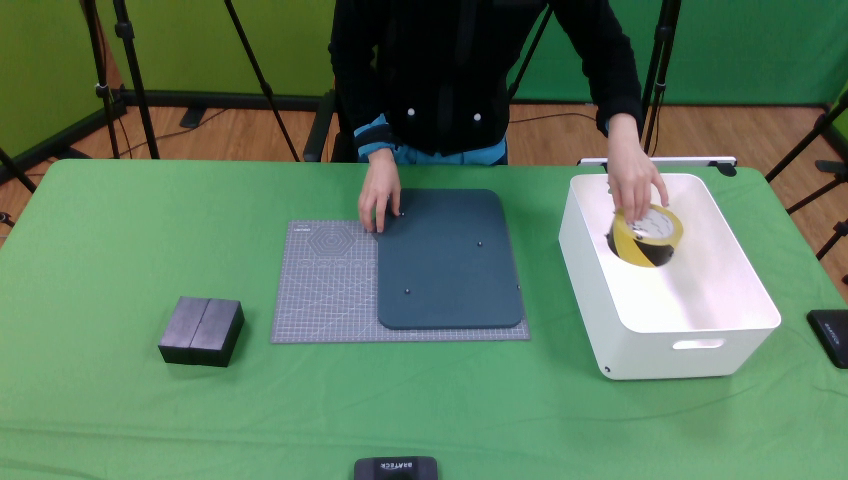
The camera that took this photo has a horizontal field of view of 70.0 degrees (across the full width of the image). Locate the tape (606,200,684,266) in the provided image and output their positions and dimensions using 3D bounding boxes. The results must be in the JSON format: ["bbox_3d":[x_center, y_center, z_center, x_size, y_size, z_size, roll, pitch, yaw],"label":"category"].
[{"bbox_3d":[0.363,-0.013,1.001,0.117,0.053,0.116,3,41,-2],"label":"tape"}]

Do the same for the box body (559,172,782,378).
[{"bbox_3d":[0.405,0.057,1.074,0.254,0.161,0.361,-2,46,-5],"label":"box body"}]

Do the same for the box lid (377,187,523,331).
[{"bbox_3d":[0.040,0.024,1.182,0.263,0.015,0.369,-1,46,-4],"label":"box lid"}]
